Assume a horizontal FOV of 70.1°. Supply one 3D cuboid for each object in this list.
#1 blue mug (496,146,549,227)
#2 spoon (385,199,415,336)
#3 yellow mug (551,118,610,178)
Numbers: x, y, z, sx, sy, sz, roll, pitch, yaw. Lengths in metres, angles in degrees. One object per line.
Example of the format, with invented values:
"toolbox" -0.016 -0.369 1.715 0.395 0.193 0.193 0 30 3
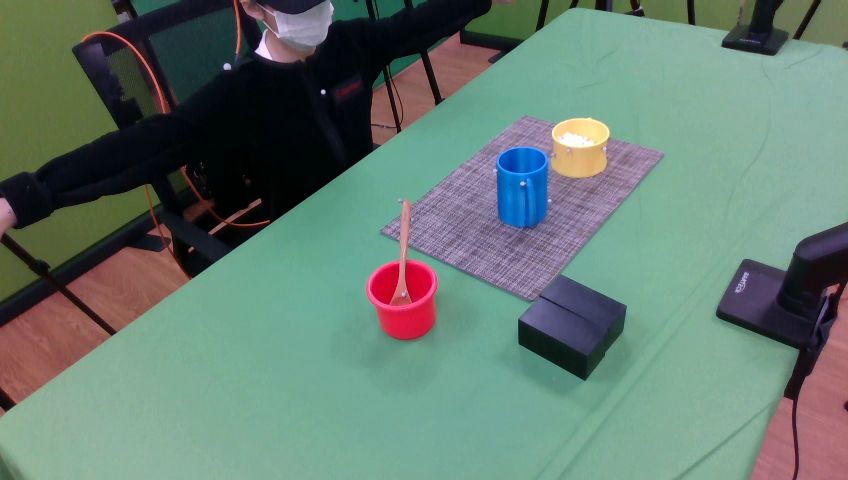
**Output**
"blue mug" 0.162 -0.076 0.969 0.082 0.106 0.116 -9 40 -1
"spoon" -0.029 0.036 0.843 0.041 0.022 0.193 2 85 11
"yellow mug" 0.287 -0.176 1.098 0.099 0.064 0.131 12 43 23
